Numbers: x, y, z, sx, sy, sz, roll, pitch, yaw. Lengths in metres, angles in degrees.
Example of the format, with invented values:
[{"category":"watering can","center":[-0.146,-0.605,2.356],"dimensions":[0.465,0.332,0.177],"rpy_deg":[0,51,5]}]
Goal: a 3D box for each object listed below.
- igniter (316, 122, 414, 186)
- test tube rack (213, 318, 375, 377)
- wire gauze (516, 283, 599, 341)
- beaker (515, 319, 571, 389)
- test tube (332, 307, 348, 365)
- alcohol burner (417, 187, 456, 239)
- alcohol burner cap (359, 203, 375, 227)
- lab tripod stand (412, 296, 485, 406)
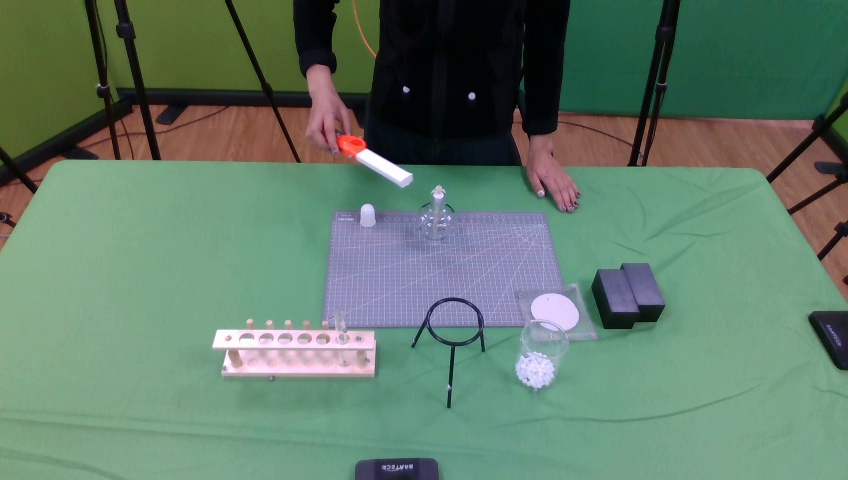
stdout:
[{"category":"igniter","center":[-0.122,-0.171,1.169],"dimensions":[0.057,0.025,0.275],"rpy_deg":[-35,51,-28]},{"category":"test tube rack","center":[-0.202,0.170,0.977],"dimensions":[0.242,0.085,0.066],"rpy_deg":[1,46,-3]},{"category":"wire gauze","center":[0.240,0.131,1.094],"dimensions":[0.125,0.011,0.120],"rpy_deg":[-3,48,-8]},{"category":"beaker","center":[0.186,0.186,0.980],"dimensions":[0.074,0.101,0.083],"rpy_deg":[-23,51,-24]},{"category":"test tube","center":[-0.128,0.151,0.931],"dimensions":[0.017,0.151,0.017],"rpy_deg":[1,50,-1]},{"category":"alcohol burner","center":[0.025,-0.059,1.189],"dimensions":[0.078,0.120,0.077],"rpy_deg":[1,48,-1]},{"category":"alcohol burner cap","center":[-0.115,-0.053,1.224],"dimensions":[0.034,0.048,0.033],"rpy_deg":[3,47,-3]},{"category":"lab tripod stand","center":[0.045,0.168,0.963],"dimensions":[0.148,0.132,0.147],"rpy_deg":[3,47,-3]}]
